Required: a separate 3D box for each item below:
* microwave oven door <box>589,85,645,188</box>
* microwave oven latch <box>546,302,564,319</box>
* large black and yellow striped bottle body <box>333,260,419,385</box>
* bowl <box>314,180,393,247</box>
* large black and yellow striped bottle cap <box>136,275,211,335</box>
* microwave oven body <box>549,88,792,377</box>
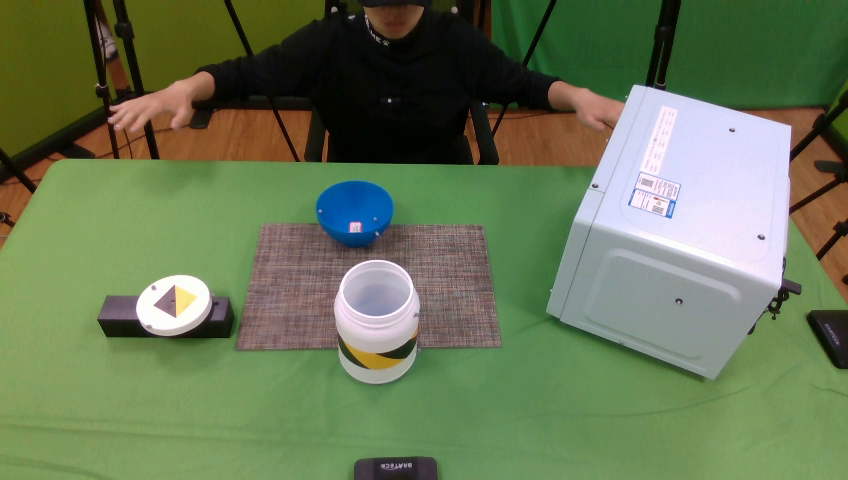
[{"bbox_3d":[0.341,-0.107,1.149,0.039,0.245,0.354,20,48,15],"label":"microwave oven door"},{"bbox_3d":[0.242,0.102,1.081,0.030,0.029,0.079,21,48,17],"label":"microwave oven latch"},{"bbox_3d":[-0.075,0.129,0.950,0.131,0.185,0.130,2,49,-2],"label":"large black and yellow striped bottle body"},{"bbox_3d":[-0.135,-0.039,1.180,0.151,0.077,0.150,3,46,-2],"label":"bowl"},{"bbox_3d":[-0.412,0.105,0.999,0.115,0.019,0.114,3,46,-3],"label":"large black and yellow striped bottle cap"},{"bbox_3d":[0.456,-0.028,1.088,0.325,0.261,0.440,20,47,16],"label":"microwave oven body"}]
